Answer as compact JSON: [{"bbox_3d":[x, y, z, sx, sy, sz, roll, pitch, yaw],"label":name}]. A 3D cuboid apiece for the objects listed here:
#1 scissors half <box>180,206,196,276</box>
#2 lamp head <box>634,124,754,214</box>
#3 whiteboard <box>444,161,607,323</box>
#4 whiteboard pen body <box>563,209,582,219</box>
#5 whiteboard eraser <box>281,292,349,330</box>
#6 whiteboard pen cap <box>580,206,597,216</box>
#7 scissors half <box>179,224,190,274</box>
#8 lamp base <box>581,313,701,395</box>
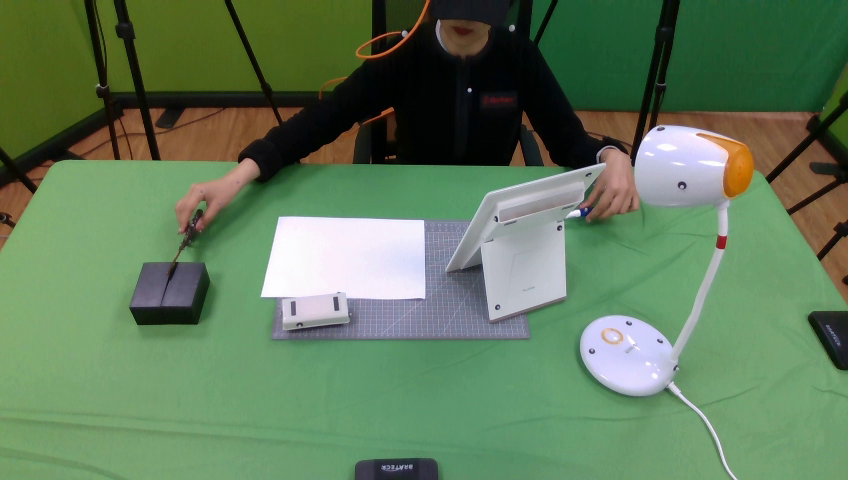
[{"bbox_3d":[-0.433,-0.001,1.105,0.013,0.040,0.174,15,43,-25],"label":"scissors half"},{"bbox_3d":[0.351,-0.089,0.776,0.112,0.113,0.122,-30,30,-28],"label":"lamp head"},{"bbox_3d":[0.186,0.025,1.029,0.217,0.306,0.143,-14,68,-18],"label":"whiteboard"},{"bbox_3d":[0.280,-0.050,1.253,0.141,0.017,0.017,-9,47,1],"label":"whiteboard pen body"},{"bbox_3d":[-0.189,0.124,1.045,0.113,0.042,0.055,-6,46,-10],"label":"whiteboard eraser"},{"bbox_3d":[0.338,-0.058,1.252,0.033,0.018,0.018,-12,47,-1],"label":"whiteboard pen cap"},{"bbox_3d":[-0.442,0.015,1.116,0.013,0.040,0.174,11,24,-22],"label":"scissors half"},{"bbox_3d":[0.361,0.144,0.973,0.178,0.181,0.160,34,53,23],"label":"lamp base"}]
